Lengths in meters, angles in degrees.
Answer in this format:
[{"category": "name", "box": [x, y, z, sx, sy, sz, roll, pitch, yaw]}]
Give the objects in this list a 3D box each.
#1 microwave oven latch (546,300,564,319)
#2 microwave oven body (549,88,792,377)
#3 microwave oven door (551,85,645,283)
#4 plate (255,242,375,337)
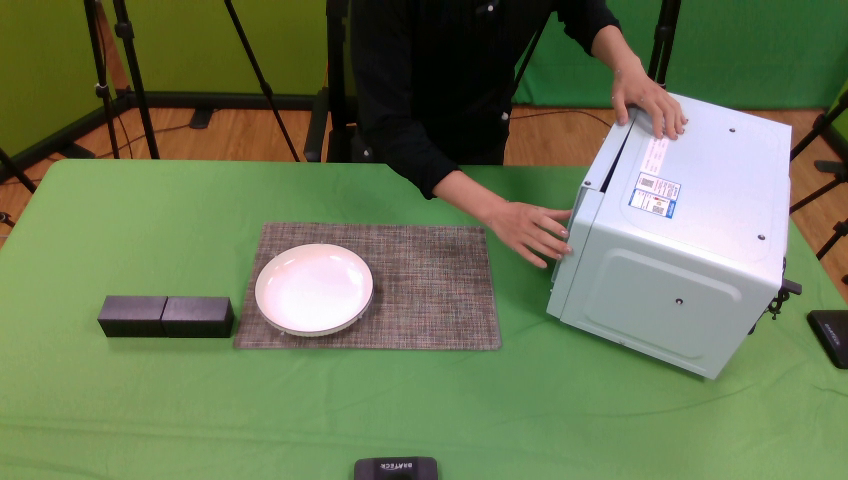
[{"category": "microwave oven latch", "box": [0.242, 0.102, 1.081, 0.030, 0.029, 0.079, 22, 48, 17]}, {"category": "microwave oven body", "box": [0.456, -0.028, 1.088, 0.325, 0.261, 0.440, 20, 47, 16]}, {"category": "microwave oven door", "box": [0.336, -0.109, 1.150, 0.039, 0.245, 0.355, 22, 48, 16]}, {"category": "plate", "box": [-0.192, 0.090, 1.079, 0.208, 0.039, 0.206, 2, 46, -2]}]
